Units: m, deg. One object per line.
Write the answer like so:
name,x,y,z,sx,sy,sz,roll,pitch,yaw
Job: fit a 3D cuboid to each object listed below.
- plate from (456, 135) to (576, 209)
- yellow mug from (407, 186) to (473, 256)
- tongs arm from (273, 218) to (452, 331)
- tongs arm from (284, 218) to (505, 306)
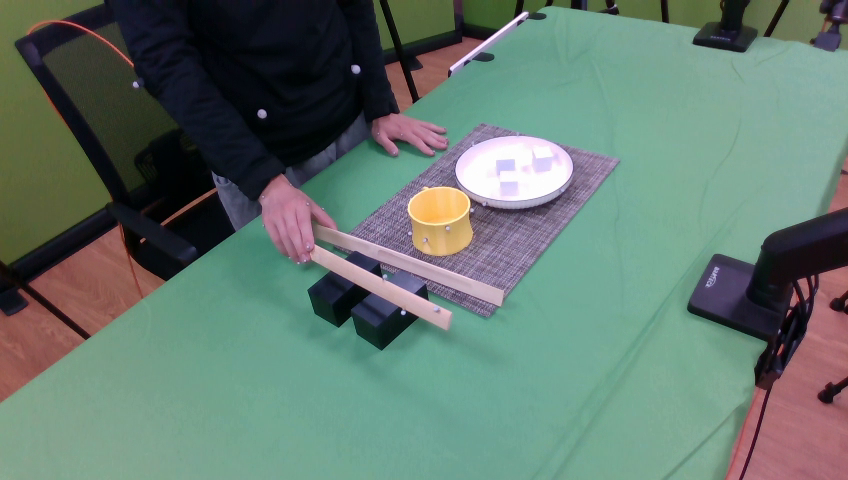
plate,0.161,-0.116,1.064,0.207,0.039,0.206,-4,40,4
yellow mug,0.021,-0.041,0.973,0.100,0.064,0.129,-19,41,-12
tongs arm,-0.100,0.038,0.857,0.381,0.026,0.051,22,22,35
tongs arm,-0.056,0.027,0.916,0.385,0.028,0.028,18,24,24
